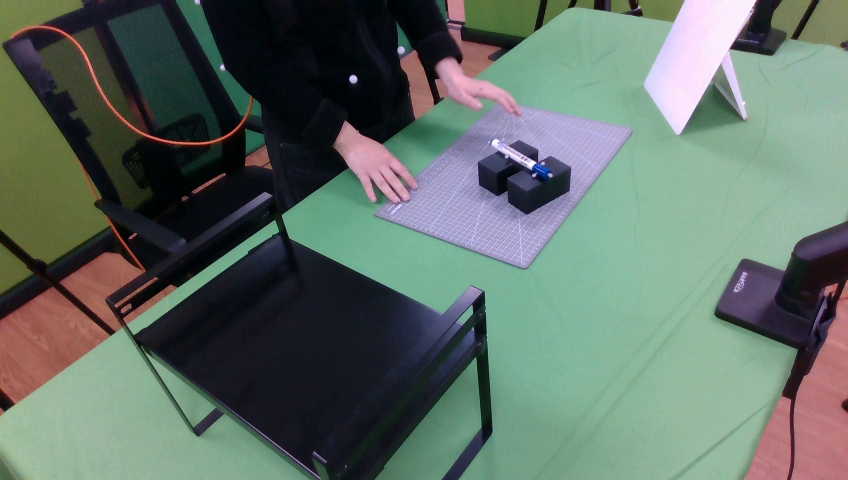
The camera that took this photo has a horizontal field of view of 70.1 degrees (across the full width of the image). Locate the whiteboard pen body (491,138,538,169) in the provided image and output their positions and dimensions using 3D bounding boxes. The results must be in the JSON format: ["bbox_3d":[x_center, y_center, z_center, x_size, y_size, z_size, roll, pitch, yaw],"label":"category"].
[{"bbox_3d":[0.163,-0.145,1.041,0.017,0.017,0.139,-27,43,-22],"label":"whiteboard pen body"}]

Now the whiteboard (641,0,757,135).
[{"bbox_3d":[0.575,-0.367,1.147,0.144,0.305,0.216,10,39,-9],"label":"whiteboard"}]

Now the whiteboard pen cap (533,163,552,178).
[{"bbox_3d":[0.196,-0.116,1.003,0.018,0.018,0.033,-28,42,-22],"label":"whiteboard pen cap"}]
